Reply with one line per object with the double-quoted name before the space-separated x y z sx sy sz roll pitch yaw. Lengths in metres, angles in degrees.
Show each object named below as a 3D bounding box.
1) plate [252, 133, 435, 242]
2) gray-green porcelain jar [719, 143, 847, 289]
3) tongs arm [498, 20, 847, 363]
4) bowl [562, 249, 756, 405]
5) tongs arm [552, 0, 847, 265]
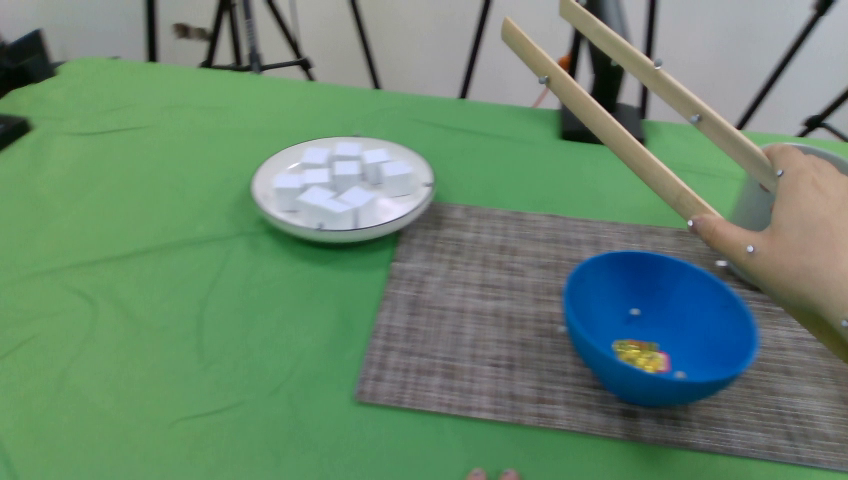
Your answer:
"plate" -0.092 -0.060 0.704 0.209 0.038 0.207 2 38 -1
"gray-green porcelain jar" 0.367 -0.018 0.614 0.106 0.127 0.105 2 38 -1
"tongs arm" 0.174 -0.048 0.435 0.028 0.028 0.384 -29 61 -19
"bowl" 0.184 0.084 0.508 0.151 0.077 0.150 3 38 -2
"tongs arm" 0.205 -0.065 0.443 0.051 0.027 0.381 -31 62 -16
